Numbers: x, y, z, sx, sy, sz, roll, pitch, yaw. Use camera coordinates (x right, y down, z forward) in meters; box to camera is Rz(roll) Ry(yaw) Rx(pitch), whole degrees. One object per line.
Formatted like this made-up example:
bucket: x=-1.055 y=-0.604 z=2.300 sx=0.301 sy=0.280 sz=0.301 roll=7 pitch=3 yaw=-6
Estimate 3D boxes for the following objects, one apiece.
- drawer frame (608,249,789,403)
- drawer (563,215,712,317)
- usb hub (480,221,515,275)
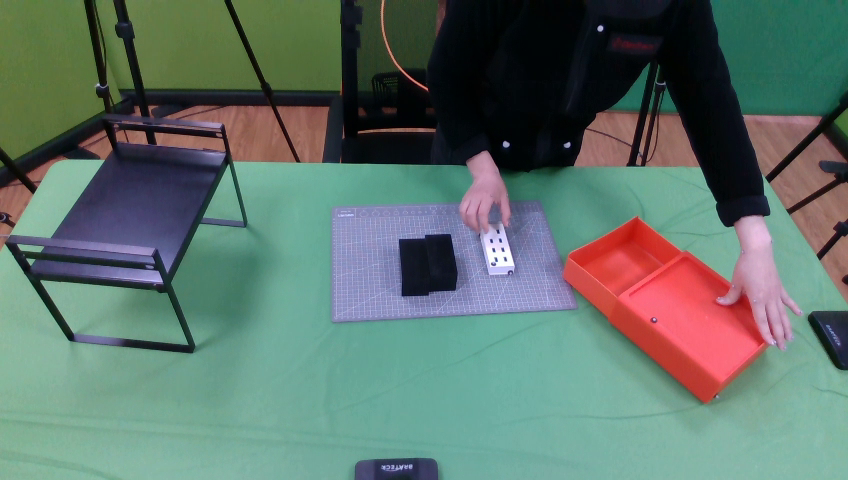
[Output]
drawer frame: x=0.470 y=0.139 z=1.051 sx=0.202 sy=0.083 sz=0.212 roll=-28 pitch=55 yaw=-27
drawer: x=0.399 y=0.071 z=1.115 sx=0.194 sy=0.073 sz=0.210 roll=-25 pitch=52 yaw=-26
usb hub: x=0.142 y=0.014 z=1.188 sx=0.049 sy=0.025 sz=0.124 roll=-3 pitch=45 yaw=-5
